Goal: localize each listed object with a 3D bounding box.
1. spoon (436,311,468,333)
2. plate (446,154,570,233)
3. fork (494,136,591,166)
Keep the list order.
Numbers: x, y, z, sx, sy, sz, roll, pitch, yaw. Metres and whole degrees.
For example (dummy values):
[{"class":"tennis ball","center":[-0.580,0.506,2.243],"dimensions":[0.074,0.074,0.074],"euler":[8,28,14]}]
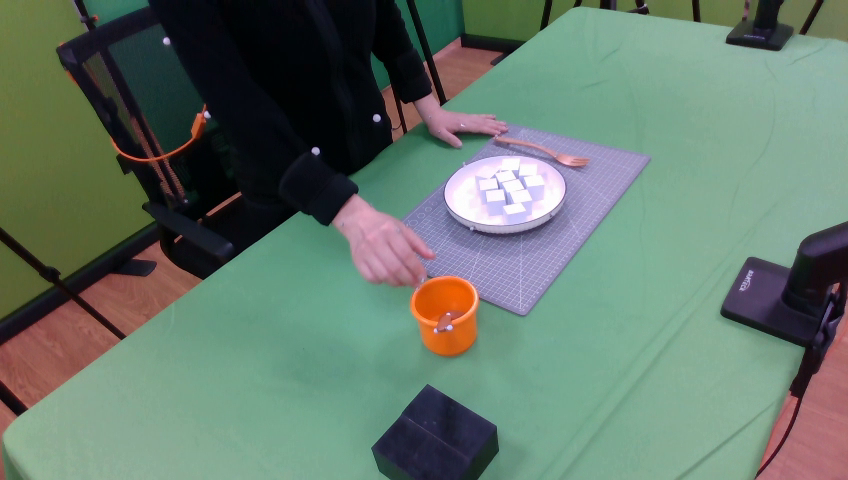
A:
[{"class":"spoon","center":[0.030,0.102,0.761],"dimensions":[0.041,0.194,0.021],"euler":[3,85,8]},{"class":"plate","center":[0.142,-0.076,1.033],"dimensions":[0.207,0.039,0.206],"euler":[-5,40,5]},{"class":"fork","center":[0.218,-0.171,1.144],"dimensions":[0.205,0.019,0.028],"euler":[24,55,31]}]
